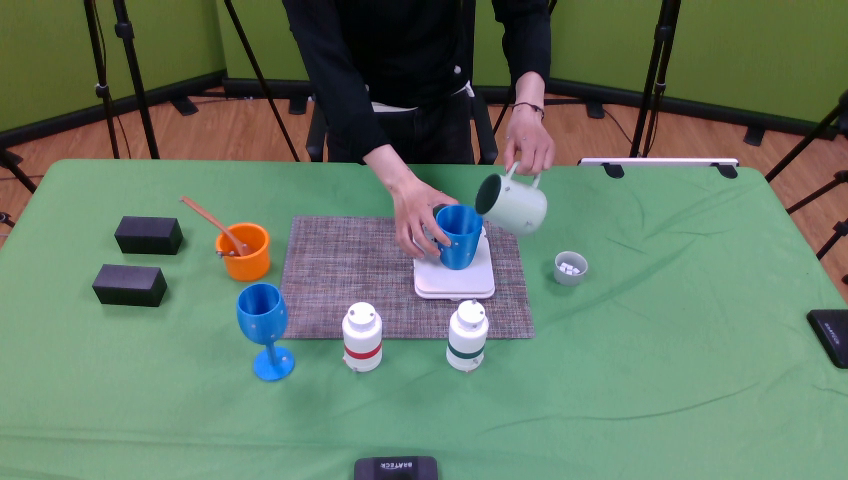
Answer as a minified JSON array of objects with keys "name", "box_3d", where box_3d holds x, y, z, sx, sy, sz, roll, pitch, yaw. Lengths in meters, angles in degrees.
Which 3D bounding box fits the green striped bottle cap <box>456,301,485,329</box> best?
[{"name":"green striped bottle cap","box_3d":[0.073,0.116,0.943,0.044,0.020,0.044,3,46,-2]}]

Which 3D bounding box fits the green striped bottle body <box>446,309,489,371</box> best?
[{"name":"green striped bottle body","box_3d":[0.070,0.155,0.984,0.063,0.120,0.063,2,45,-2]}]

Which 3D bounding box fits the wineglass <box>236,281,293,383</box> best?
[{"name":"wineglass","box_3d":[-0.243,0.143,0.934,0.074,0.173,0.073,2,46,-2]}]

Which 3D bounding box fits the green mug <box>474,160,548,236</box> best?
[{"name":"green mug","box_3d":[0.158,-0.077,1.050,0.105,0.125,0.092,21,9,-25]}]

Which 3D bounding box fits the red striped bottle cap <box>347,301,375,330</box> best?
[{"name":"red striped bottle cap","box_3d":[-0.097,0.116,0.934,0.044,0.018,0.044,2,49,-2]}]

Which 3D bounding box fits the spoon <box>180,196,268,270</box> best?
[{"name":"spoon","box_3d":[-0.360,-0.014,1.094,0.021,0.194,0.041,-27,26,31]}]

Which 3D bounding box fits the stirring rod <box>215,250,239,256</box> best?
[{"name":"stirring rod","box_3d":[-0.339,0.024,1.059,0.014,0.176,0.006,18,86,-6]}]

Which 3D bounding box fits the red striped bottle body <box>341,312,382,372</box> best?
[{"name":"red striped bottle body","box_3d":[-0.100,0.154,0.972,0.063,0.120,0.062,2,46,-1]}]

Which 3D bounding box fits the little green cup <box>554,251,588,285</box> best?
[{"name":"little green cup","box_3d":[0.277,0.055,1.152,0.061,0.039,0.061,1,44,-1]}]

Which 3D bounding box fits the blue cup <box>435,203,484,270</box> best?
[{"name":"blue cup","box_3d":[0.061,-0.001,1.099,0.092,0.101,0.092,1,43,-1]}]

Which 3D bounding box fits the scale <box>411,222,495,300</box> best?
[{"name":"scale","box_3d":[0.052,0.031,1.158,0.149,0.032,0.199,1,46,-4]}]
